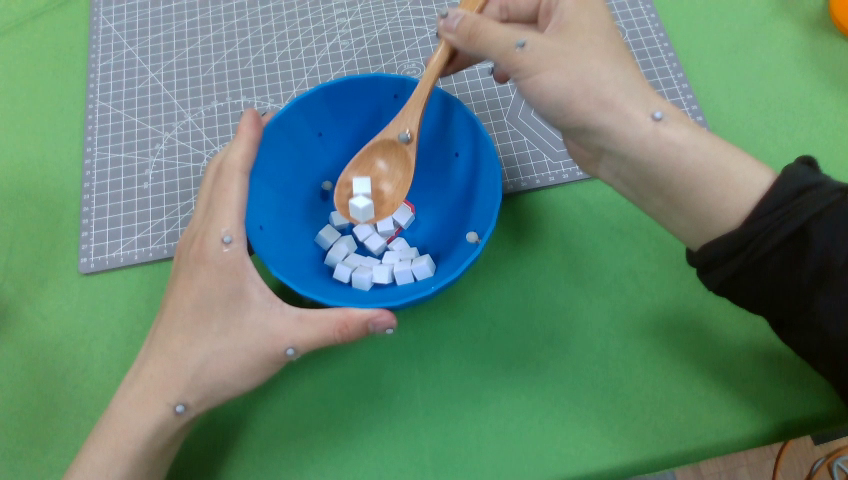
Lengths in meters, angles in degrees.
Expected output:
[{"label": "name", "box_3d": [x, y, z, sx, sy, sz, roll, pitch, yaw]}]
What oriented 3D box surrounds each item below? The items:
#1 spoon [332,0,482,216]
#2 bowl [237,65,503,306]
[{"label": "spoon", "box_3d": [0.007, -0.098, 0.335, 0.041, 0.022, 0.194, 31, 94, 17]}, {"label": "bowl", "box_3d": [-0.029, -0.023, 0.378, 0.151, 0.077, 0.150, 0, 69, 2]}]
